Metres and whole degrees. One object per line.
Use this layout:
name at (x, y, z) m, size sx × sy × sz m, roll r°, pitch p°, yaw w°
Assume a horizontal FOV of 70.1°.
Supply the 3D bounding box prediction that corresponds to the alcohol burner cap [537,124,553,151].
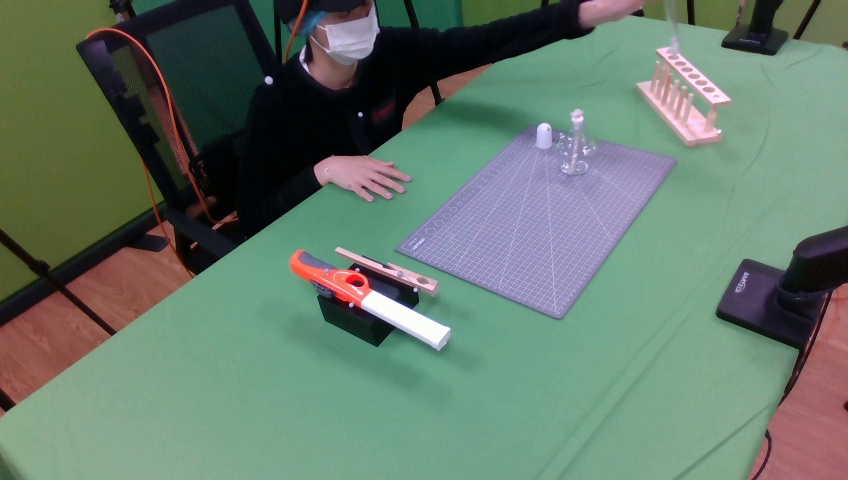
alcohol burner cap at (0.232, -0.199, 1.158) m, size 0.034 × 0.048 × 0.033 m, roll -5°, pitch 41°, yaw 5°

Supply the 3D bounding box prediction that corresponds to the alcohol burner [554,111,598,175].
alcohol burner at (0.270, -0.175, 1.066) m, size 0.078 × 0.119 × 0.077 m, roll -4°, pitch 42°, yaw 4°

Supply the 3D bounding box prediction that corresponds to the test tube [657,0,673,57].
test tube at (0.406, -0.382, 1.022) m, size 0.017 × 0.151 × 0.017 m, roll -15°, pitch 29°, yaw 9°

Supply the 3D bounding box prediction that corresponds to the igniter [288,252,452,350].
igniter at (-0.084, 0.077, 0.821) m, size 0.274 × 0.025 × 0.057 m, roll 23°, pitch 48°, yaw 27°

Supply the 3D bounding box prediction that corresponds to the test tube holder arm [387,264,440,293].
test tube holder arm at (-0.017, 0.053, 0.843) m, size 0.087 × 0.015 × 0.010 m, roll 18°, pitch 53°, yaw 28°

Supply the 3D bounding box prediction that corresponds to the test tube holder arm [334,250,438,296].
test tube holder arm at (-0.058, 0.045, 0.860) m, size 0.177 × 0.015 × 0.013 m, roll 17°, pitch 52°, yaw 27°

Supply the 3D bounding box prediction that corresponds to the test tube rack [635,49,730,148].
test tube rack at (0.497, -0.283, 1.184) m, size 0.067 × 0.085 × 0.240 m, roll -10°, pitch 40°, yaw -2°
